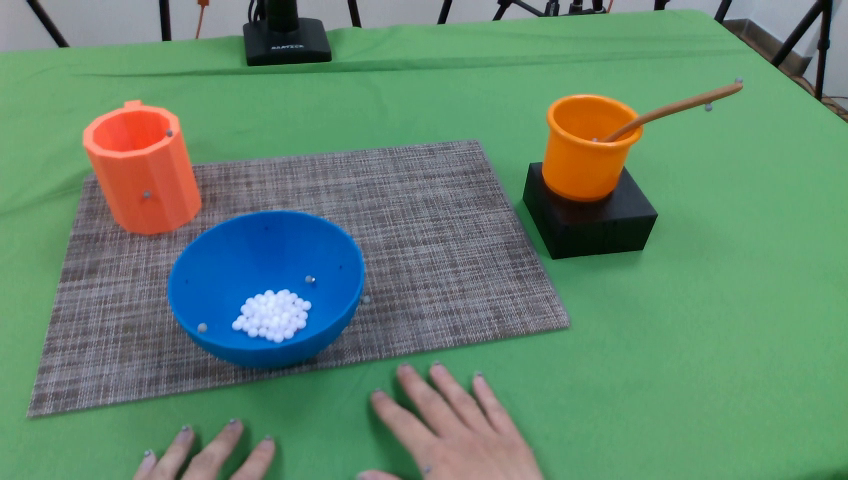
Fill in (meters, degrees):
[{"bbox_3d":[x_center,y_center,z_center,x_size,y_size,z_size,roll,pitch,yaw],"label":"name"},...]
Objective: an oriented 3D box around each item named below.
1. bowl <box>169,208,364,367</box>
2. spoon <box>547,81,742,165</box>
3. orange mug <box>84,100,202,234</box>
[{"bbox_3d":[-0.124,0.052,0.503,0.151,0.077,0.150,3,44,-2],"label":"bowl"},{"bbox_3d":[0.199,-0.109,0.575,0.022,0.193,0.041,54,46,-13],"label":"spoon"},{"bbox_3d":[-0.282,-0.082,0.613,0.084,0.101,0.125,-13,51,-17],"label":"orange mug"}]
